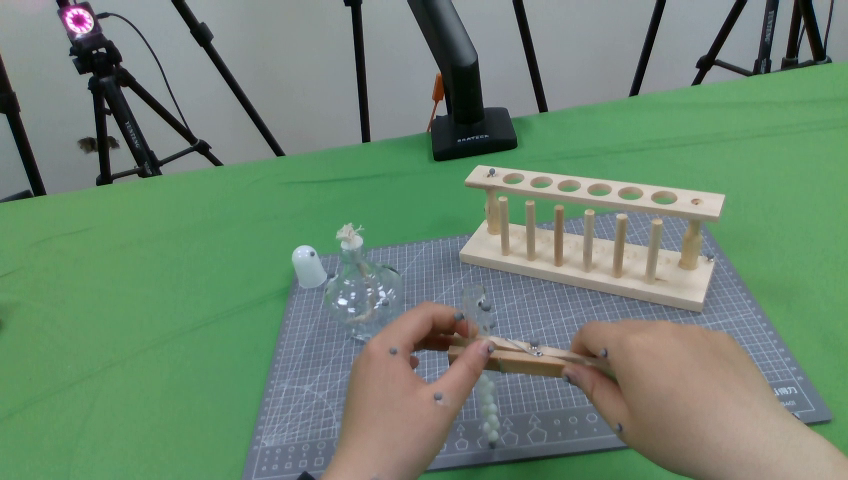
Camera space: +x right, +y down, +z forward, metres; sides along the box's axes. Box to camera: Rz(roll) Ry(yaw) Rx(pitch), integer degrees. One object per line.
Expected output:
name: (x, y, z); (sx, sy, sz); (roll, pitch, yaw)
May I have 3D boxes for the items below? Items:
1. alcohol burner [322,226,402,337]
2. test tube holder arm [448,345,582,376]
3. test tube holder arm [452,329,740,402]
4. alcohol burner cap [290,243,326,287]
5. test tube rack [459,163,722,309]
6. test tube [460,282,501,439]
alcohol burner: (-0.061, 0.034, 0.570); (0.078, 0.120, 0.077); (-6, 38, 5)
test tube holder arm: (0.059, 0.079, 0.398); (0.087, 0.015, 0.010); (1, 44, 16)
test tube holder arm: (0.103, 0.079, 0.388); (0.177, 0.015, 0.013); (6, 46, 21)
alcohol burner cap: (-0.129, 0.024, 0.664); (0.034, 0.048, 0.033); (-7, 37, 5)
test tube rack: (0.151, -0.010, 0.595); (0.241, 0.086, 0.066); (11, 42, 29)
test tube: (0.041, 0.089, 0.420); (0.017, 0.151, 0.017); (-7, 37, 5)
